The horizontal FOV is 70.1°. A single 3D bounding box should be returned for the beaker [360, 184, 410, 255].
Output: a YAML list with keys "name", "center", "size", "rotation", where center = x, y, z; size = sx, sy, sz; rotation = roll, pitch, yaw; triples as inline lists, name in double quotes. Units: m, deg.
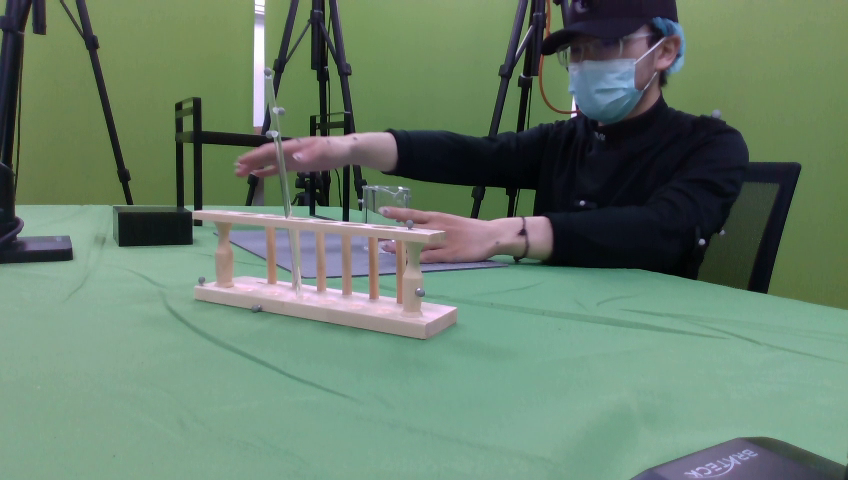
- name: "beaker"
  center: [-0.058, -0.031, 0.907]
  size: [0.074, 0.100, 0.083]
  rotation: [-1, 9, -21]

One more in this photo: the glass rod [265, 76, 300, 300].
- name: "glass rod"
  center: [-0.124, -0.043, 0.533]
  size: [0.008, 0.199, 0.008]
  rotation: [-6, 7, 1]

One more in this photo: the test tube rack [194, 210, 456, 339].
- name: "test tube rack"
  center: [-0.093, 0.023, 0.545]
  size: [0.241, 0.085, 0.067]
  rotation: [6, 8, 25]
